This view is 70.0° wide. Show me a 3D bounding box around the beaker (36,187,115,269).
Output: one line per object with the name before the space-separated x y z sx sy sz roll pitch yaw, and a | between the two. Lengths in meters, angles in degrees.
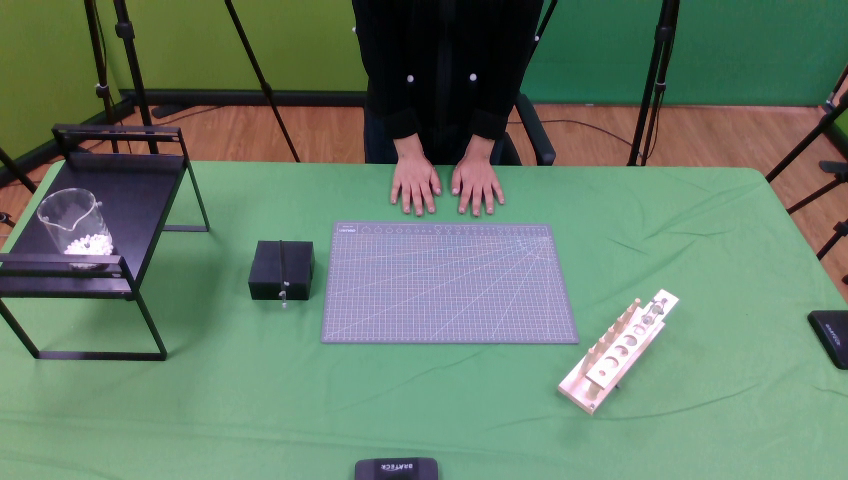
beaker | -0.493 -0.012 0.867 0.074 0.101 0.083 -18 51 -18

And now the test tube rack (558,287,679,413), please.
test tube rack | 0.326 0.170 1.009 0.066 0.085 0.242 36 54 26

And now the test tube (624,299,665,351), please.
test tube | 0.350 0.140 0.970 0.017 0.151 0.017 2 52 -3

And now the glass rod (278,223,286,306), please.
glass rod | -0.255 0.039 1.081 0.008 0.008 0.198 -7 47 -10
